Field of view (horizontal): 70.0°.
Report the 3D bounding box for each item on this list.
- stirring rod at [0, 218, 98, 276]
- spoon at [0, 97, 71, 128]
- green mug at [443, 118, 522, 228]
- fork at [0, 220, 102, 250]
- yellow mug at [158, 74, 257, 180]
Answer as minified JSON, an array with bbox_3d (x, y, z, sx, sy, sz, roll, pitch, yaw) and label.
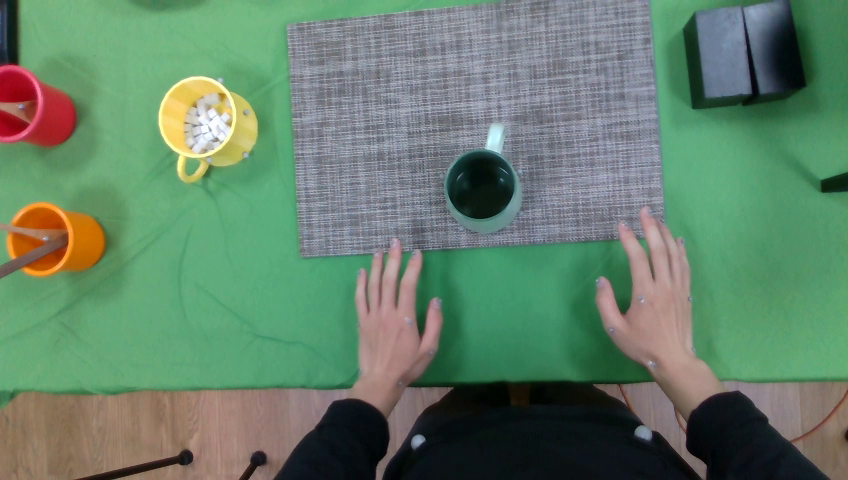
[{"bbox_3d":[-0.489,0.018,0.750,0.014,0.006,0.176,48,52,5],"label":"stirring rod"},{"bbox_3d":[-0.556,-0.175,0.760,0.195,0.021,0.041,5,87,-36],"label":"spoon"},{"bbox_3d":[0.071,-0.078,0.694,0.092,0.105,0.125,14,90,8],"label":"green mug"},{"bbox_3d":[-0.512,-0.018,0.748,0.209,0.018,0.028,15,86,-36],"label":"fork"},{"bbox_3d":[-0.277,-0.136,0.763,0.100,0.064,0.131,22,93,7],"label":"yellow mug"}]
